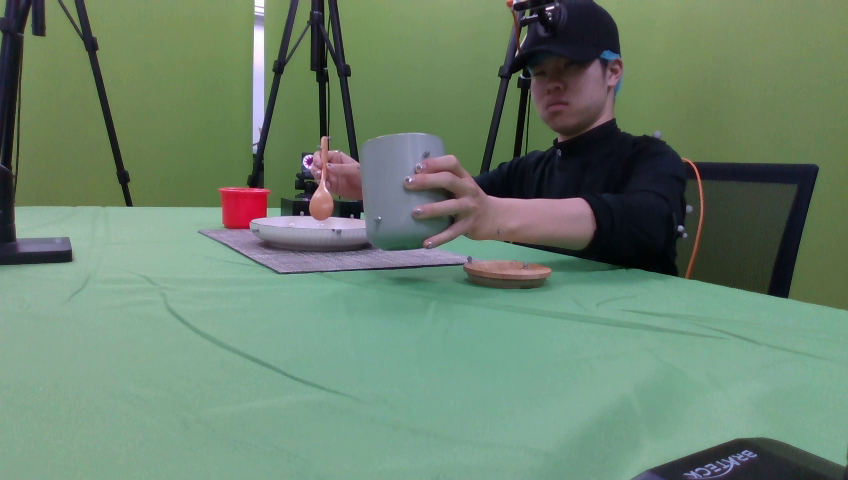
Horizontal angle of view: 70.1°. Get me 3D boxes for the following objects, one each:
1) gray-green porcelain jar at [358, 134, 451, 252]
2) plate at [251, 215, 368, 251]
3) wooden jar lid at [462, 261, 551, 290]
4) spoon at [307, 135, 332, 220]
[{"bbox_3d":[-0.023,-0.052,0.728,0.106,0.126,0.106,-6,-6,0],"label":"gray-green porcelain jar"},{"bbox_3d":[-0.170,-0.012,0.971,0.208,0.039,0.207,2,7,0],"label":"plate"},{"bbox_3d":[0.100,0.043,0.742,0.108,0.020,0.108,2,6,0],"label":"wooden jar lid"},{"bbox_3d":[-0.175,-0.111,1.034,0.041,0.022,0.193,-11,49,6],"label":"spoon"}]
